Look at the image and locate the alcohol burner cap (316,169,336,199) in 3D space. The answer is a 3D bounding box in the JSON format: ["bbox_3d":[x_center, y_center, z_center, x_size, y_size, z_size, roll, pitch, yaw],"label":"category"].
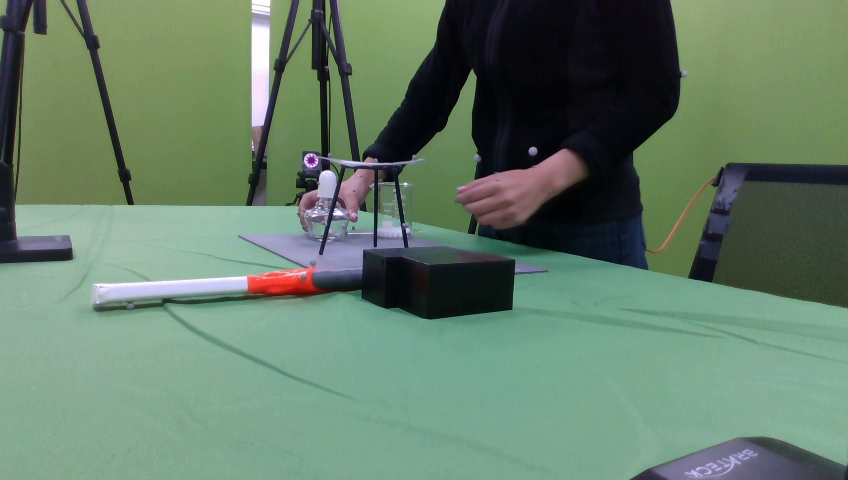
[{"bbox_3d":[-0.162,-0.093,1.004,0.034,0.048,0.034,3,3,0],"label":"alcohol burner cap"}]

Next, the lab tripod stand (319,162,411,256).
[{"bbox_3d":[-0.081,-0.047,0.879,0.148,0.131,0.148,2,9,0],"label":"lab tripod stand"}]

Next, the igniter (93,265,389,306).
[{"bbox_3d":[-0.164,0.042,0.589,0.278,0.025,0.057,-2,-7,-31],"label":"igniter"}]

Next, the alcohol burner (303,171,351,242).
[{"bbox_3d":[-0.162,-0.057,1.008,0.078,0.119,0.078,0,10,0],"label":"alcohol burner"}]

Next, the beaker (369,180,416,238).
[{"bbox_3d":[-0.058,-0.056,1.090,0.084,0.100,0.074,2,7,0],"label":"beaker"}]

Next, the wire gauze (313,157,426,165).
[{"bbox_3d":[-0.080,-0.113,0.868,0.122,0.011,0.124,-4,10,-36],"label":"wire gauze"}]

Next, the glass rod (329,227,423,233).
[{"bbox_3d":[-0.087,-0.019,1.148,0.201,0.008,0.008,-3,8,-32],"label":"glass rod"}]
